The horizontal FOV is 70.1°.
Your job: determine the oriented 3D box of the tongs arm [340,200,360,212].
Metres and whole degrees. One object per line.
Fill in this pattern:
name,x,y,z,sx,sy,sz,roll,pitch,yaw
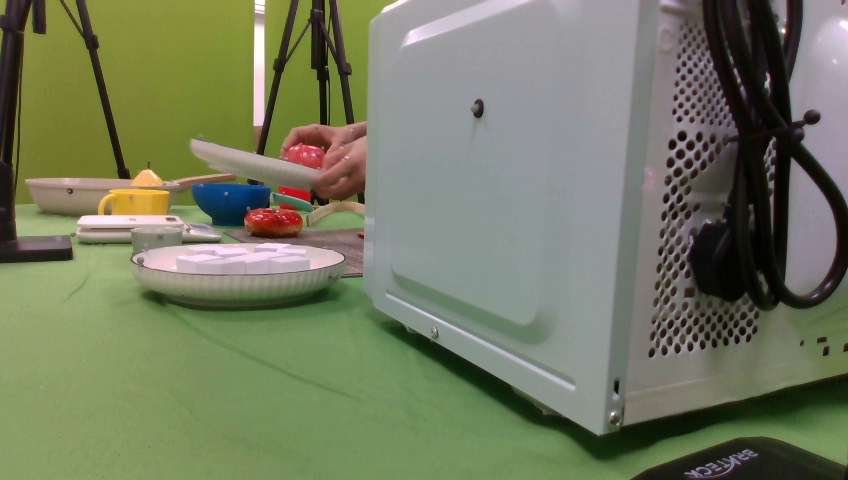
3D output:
tongs arm,-0.149,-0.070,1.429,0.051,0.026,0.383,-5,9,-15

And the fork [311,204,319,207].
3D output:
fork,-0.356,-0.105,1.526,0.208,0.018,0.028,16,-6,-41

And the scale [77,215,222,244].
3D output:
scale,-0.434,-0.019,0.963,0.202,0.031,0.148,-1,9,-27

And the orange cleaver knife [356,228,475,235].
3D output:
orange cleaver knife,-0.016,-0.015,1.081,0.211,0.012,0.077,-1,1,-3

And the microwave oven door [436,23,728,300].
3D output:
microwave oven door,0.180,-0.073,0.621,0.358,0.243,0.039,-2,9,-29

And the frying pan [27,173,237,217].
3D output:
frying pan,-0.624,-0.118,1.387,0.305,0.102,0.490,8,17,32

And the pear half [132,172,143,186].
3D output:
pear half,-0.638,-0.113,1.361,0.031,0.088,0.070,5,11,4

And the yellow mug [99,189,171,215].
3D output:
yellow mug,-0.519,-0.055,1.080,0.099,0.064,0.131,7,9,26

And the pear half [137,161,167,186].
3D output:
pear half,-0.602,-0.120,1.354,0.056,0.110,0.076,4,11,6

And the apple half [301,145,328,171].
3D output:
apple half,-0.194,-0.137,1.105,0.033,0.081,0.081,-2,6,16

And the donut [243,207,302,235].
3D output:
donut,-0.261,-0.032,1.043,0.099,0.048,0.099,4,9,0

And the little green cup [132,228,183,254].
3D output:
little green cup,-0.342,0.006,0.779,0.061,0.038,0.061,2,8,0

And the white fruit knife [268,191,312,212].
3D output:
white fruit knife,-0.364,-0.105,1.464,0.208,0.027,0.016,15,0,-34

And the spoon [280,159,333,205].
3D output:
spoon,-0.317,-0.159,1.640,0.194,0.022,0.041,-49,32,-20

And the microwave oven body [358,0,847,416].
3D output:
microwave oven body,0.211,-0.047,0.474,0.444,0.260,0.324,-1,7,-28

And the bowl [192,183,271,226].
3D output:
bowl,-0.382,-0.071,1.202,0.151,0.077,0.151,3,7,0

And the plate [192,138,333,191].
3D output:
plate,-0.246,-0.110,0.918,0.209,0.038,0.209,14,4,-1

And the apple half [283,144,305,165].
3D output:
apple half,-0.232,-0.137,1.114,0.053,0.074,0.081,-2,6,15

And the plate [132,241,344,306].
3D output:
plate,-0.187,0.033,0.625,0.208,0.039,0.207,2,7,0

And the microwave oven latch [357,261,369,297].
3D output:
microwave oven latch,-0.019,0.033,0.530,0.079,0.029,0.030,-1,7,-26

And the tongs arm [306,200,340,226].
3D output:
tongs arm,-0.235,-0.067,1.414,0.028,0.028,0.387,-6,8,1
